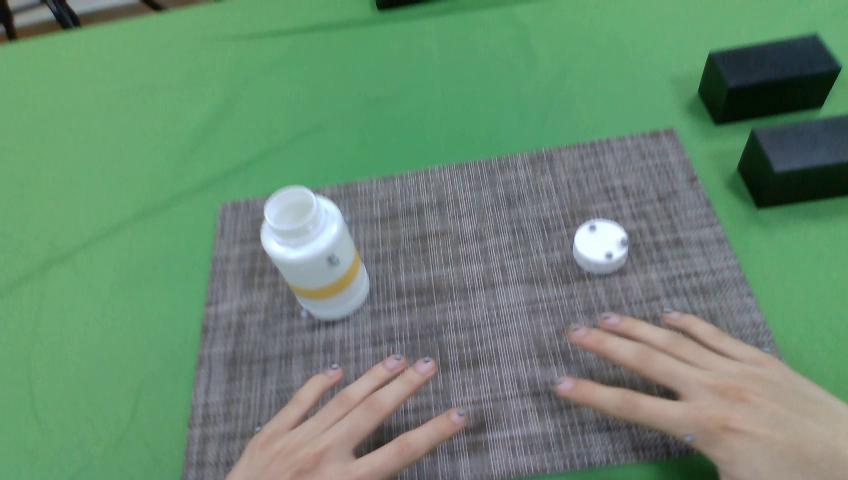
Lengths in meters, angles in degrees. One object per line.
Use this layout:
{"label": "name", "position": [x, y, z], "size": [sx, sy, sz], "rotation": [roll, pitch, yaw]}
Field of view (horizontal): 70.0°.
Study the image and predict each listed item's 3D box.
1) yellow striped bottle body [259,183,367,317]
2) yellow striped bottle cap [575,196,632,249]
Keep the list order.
{"label": "yellow striped bottle body", "position": [-0.088, 0.007, 0.478], "size": [0.063, 0.121, 0.062], "rotation": [-5, 55, 7]}
{"label": "yellow striped bottle cap", "position": [0.145, -0.014, 0.490], "size": [0.044, 0.019, 0.044], "rotation": [-8, 47, 8]}
